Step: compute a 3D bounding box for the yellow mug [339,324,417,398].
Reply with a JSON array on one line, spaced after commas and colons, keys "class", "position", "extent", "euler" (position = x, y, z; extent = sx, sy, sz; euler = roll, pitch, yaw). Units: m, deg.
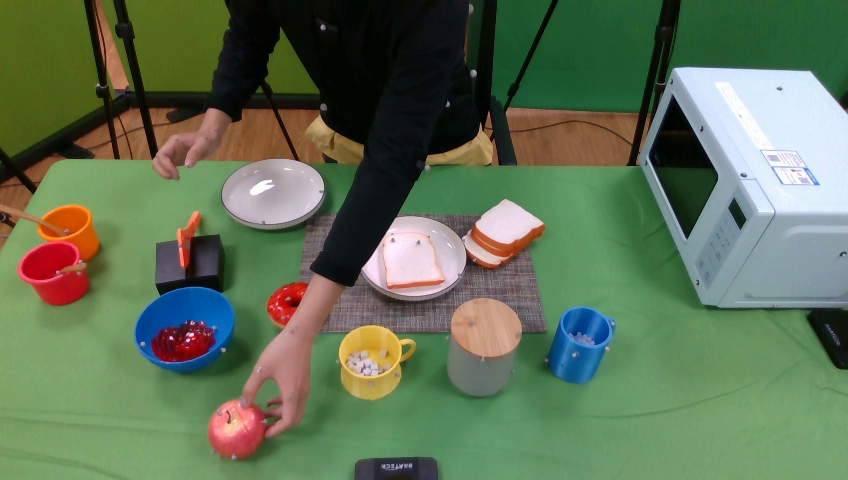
[{"class": "yellow mug", "position": [-0.072, 0.190, 0.978], "extent": [0.131, 0.064, 0.099], "euler": [-17, 51, -20]}]

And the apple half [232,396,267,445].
[{"class": "apple half", "position": [-0.249, 0.261, 0.890], "extent": [0.033, 0.082, 0.081], "euler": [-29, 54, -20]}]

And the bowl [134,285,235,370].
[{"class": "bowl", "position": [-0.377, 0.155, 0.981], "extent": [0.151, 0.077, 0.150], "euler": [2, 46, -2]}]

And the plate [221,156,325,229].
[{"class": "plate", "position": [-0.308, -0.095, 1.251], "extent": [0.209, 0.038, 0.208], "euler": [3, 47, -3]}]

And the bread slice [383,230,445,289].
[{"class": "bread slice", "position": [-0.029, 0.035, 1.145], "extent": [0.107, 0.018, 0.133], "euler": [-7, 48, -11]}]

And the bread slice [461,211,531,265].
[{"class": "bread slice", "position": [0.133, -0.001, 1.197], "extent": [0.104, 0.019, 0.131], "euler": [32, 47, 23]}]

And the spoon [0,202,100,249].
[{"class": "spoon", "position": [-0.683, -0.031, 1.088], "extent": [0.021, 0.195, 0.041], "euler": [-34, 44, 26]}]

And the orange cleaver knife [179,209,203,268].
[{"class": "orange cleaver knife", "position": [-0.432, -0.007, 1.127], "extent": [0.012, 0.077, 0.210], "euler": [-4, 17, -10]}]

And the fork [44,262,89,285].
[{"class": "fork", "position": [-0.598, 0.054, 1.014], "extent": [0.207, 0.019, 0.028], "euler": [-15, 28, 45]}]

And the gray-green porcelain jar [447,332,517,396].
[{"class": "gray-green porcelain jar", "position": [0.090, 0.178, 0.960], "extent": [0.106, 0.127, 0.105], "euler": [2, 46, -2]}]

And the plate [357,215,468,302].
[{"class": "plate", "position": [-0.022, 0.037, 1.141], "extent": [0.208, 0.039, 0.206], "euler": [2, 46, -2]}]

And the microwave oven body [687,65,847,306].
[{"class": "microwave oven body", "position": [0.669, -0.111, 1.176], "extent": [0.326, 0.261, 0.439], "euler": [0, 46, -3]}]

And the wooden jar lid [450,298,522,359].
[{"class": "wooden jar lid", "position": [0.093, 0.135, 0.914], "extent": [0.108, 0.021, 0.107], "euler": [3, 48, -3]}]

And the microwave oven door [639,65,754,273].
[{"class": "microwave oven door", "position": [0.522, -0.147, 1.193], "extent": [0.039, 0.245, 0.353], "euler": [0, 47, -3]}]

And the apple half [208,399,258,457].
[{"class": "apple half", "position": [-0.281, 0.279, 0.874], "extent": [0.053, 0.075, 0.080], "euler": [-29, 60, -21]}]

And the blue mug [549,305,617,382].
[{"class": "blue mug", "position": [0.269, 0.166, 0.998], "extent": [0.116, 0.106, 0.082], "euler": [-19, 51, -21]}]

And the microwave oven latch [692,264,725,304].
[{"class": "microwave oven latch", "position": [0.522, 0.081, 1.115], "extent": [0.030, 0.029, 0.078], "euler": [2, 46, -2]}]

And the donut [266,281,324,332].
[{"class": "donut", "position": [-0.222, 0.115, 1.049], "extent": [0.099, 0.048, 0.098], "euler": [2, 45, -2]}]
